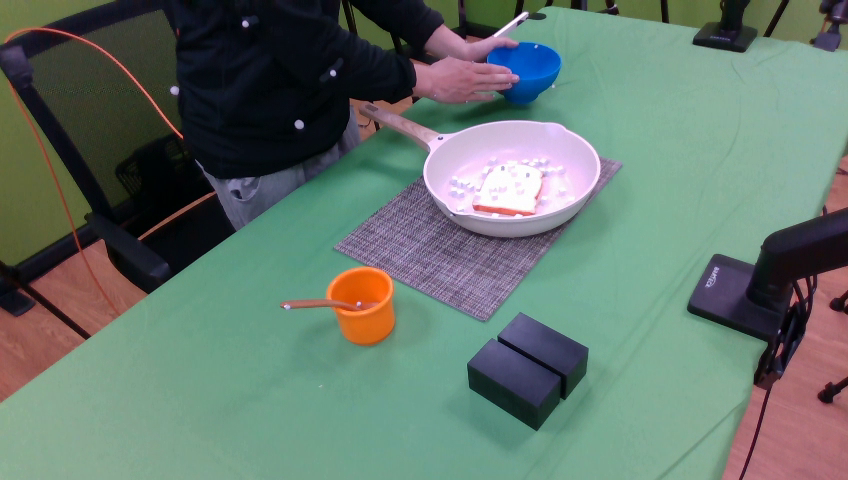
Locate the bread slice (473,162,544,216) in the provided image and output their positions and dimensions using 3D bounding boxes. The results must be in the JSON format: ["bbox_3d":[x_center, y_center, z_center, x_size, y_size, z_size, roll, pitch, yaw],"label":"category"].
[{"bbox_3d":[0.150,-0.088,1.042,0.106,0.018,0.134,7,45,16],"label":"bread slice"}]

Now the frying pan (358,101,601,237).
[{"bbox_3d":[0.067,-0.153,1.067,0.484,0.103,0.308,32,52,26],"label":"frying pan"}]

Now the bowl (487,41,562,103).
[{"bbox_3d":[0.202,-0.334,1.236,0.151,0.077,0.150,-1,46,1],"label":"bowl"}]

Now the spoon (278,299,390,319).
[{"bbox_3d":[-0.113,0.086,0.787,0.041,0.021,0.195,29,7,36],"label":"spoon"}]
